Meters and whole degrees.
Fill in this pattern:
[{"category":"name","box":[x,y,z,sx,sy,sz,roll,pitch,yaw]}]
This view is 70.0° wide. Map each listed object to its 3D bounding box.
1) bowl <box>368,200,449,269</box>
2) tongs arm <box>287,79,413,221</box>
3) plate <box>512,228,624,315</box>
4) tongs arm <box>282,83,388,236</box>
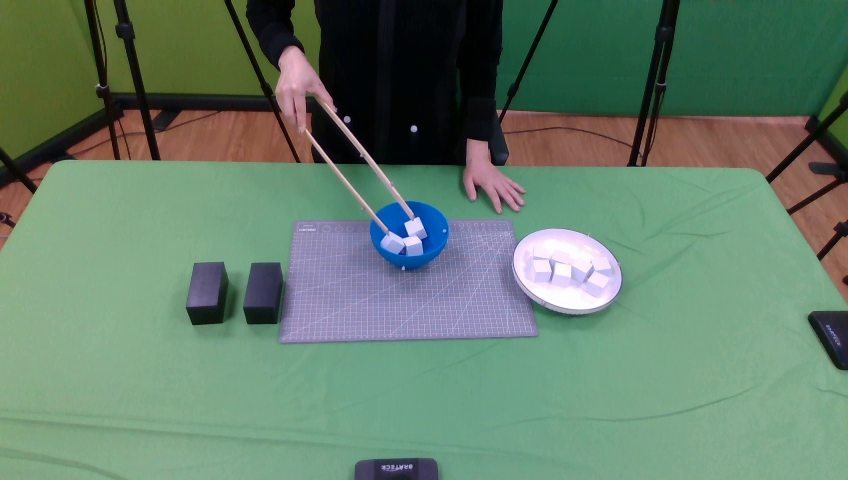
[{"category":"bowl","box":[-0.031,0.002,1.151,0.151,0.077,0.150,2,46,-2]},{"category":"tongs arm","box":[-0.144,-0.172,1.131,0.051,0.026,0.383,-32,68,-11]},{"category":"plate","box":[0.268,0.063,1.146,0.208,0.039,0.206,3,46,-3]},{"category":"tongs arm","box":[-0.172,-0.154,1.124,0.028,0.028,0.385,-34,68,-8]}]
